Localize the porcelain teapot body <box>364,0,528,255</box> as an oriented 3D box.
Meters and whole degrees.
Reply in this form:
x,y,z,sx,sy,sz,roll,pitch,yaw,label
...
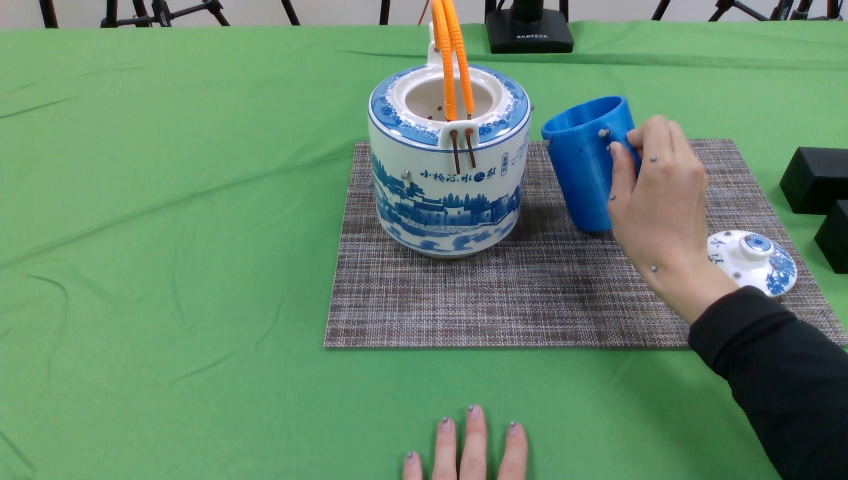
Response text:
x,y,z,sx,sy,sz,roll,pitch,yaw,label
0.016,-0.124,0.567,0.145,0.227,0.203,-6,45,-5,porcelain teapot body

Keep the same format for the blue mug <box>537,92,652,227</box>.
x,y,z,sx,sy,sz,roll,pitch,yaw,label
0.169,-0.073,0.571,0.082,0.106,0.115,-27,21,-6,blue mug

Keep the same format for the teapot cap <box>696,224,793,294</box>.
x,y,z,sx,sy,sz,roll,pitch,yaw,label
0.295,0.012,0.556,0.085,0.044,0.084,1,44,0,teapot cap
